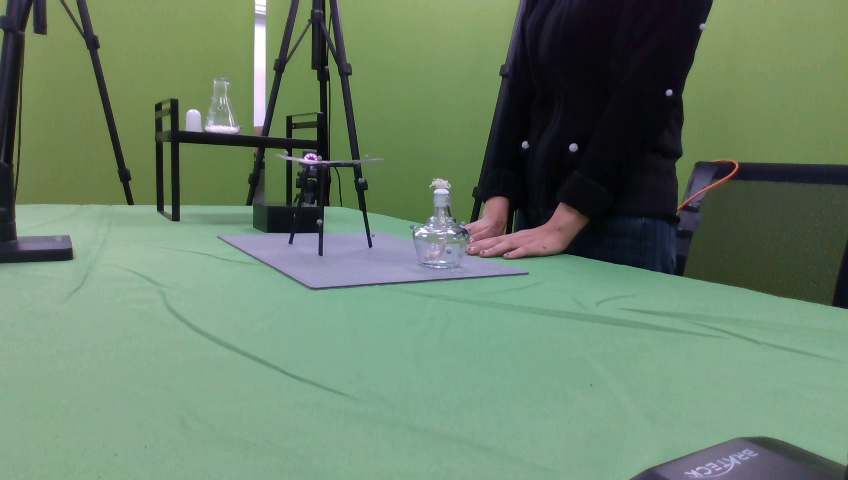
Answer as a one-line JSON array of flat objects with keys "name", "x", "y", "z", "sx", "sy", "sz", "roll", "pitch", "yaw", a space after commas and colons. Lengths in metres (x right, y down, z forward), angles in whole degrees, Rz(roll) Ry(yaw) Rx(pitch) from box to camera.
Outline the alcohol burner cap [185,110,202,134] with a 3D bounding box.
[{"name": "alcohol burner cap", "x": -0.470, "y": -0.241, "z": 1.234, "sx": 0.034, "sy": 0.048, "sz": 0.034, "roll": 3, "pitch": 7, "yaw": 0}]

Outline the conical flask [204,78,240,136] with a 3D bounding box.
[{"name": "conical flask", "x": -0.443, "y": -0.292, "z": 1.327, "sx": 0.075, "sy": 0.122, "sz": 0.075, "roll": 3, "pitch": 7, "yaw": 0}]

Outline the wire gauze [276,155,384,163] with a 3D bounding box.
[{"name": "wire gauze", "x": -0.142, "y": -0.118, "z": 0.900, "sx": 0.122, "sy": 0.011, "sz": 0.124, "roll": -3, "pitch": 8, "yaw": -37}]

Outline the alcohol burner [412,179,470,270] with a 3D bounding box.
[{"name": "alcohol burner", "x": 0.022, "y": -0.021, "z": 0.805, "sx": 0.078, "sy": 0.119, "sz": 0.078, "roll": 0, "pitch": 8, "yaw": 0}]

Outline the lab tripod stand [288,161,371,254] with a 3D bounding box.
[{"name": "lab tripod stand", "x": -0.148, "y": -0.052, "z": 0.909, "sx": 0.148, "sy": 0.131, "sz": 0.148, "roll": 1, "pitch": 8, "yaw": 0}]
